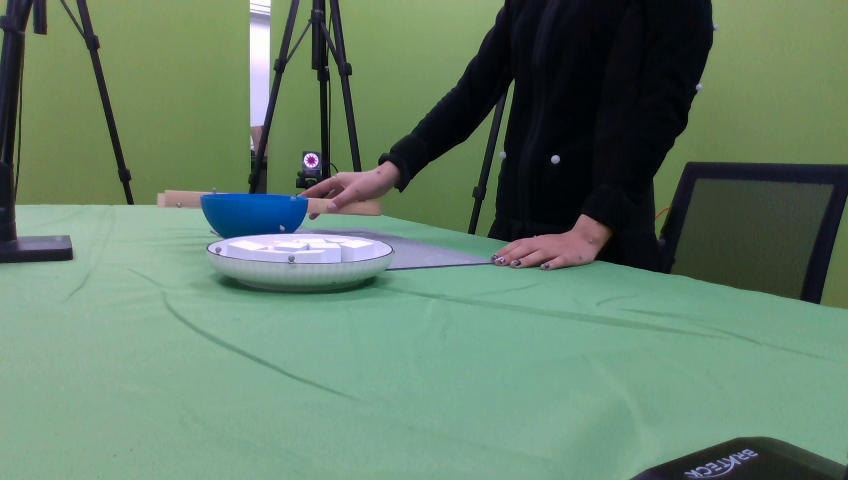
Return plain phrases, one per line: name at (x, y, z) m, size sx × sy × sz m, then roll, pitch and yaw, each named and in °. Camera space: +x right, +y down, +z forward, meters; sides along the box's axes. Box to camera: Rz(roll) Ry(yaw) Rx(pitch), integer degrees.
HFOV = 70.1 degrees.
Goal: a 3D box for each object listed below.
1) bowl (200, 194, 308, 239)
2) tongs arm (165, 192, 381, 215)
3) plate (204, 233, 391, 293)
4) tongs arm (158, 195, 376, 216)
bowl at (-0.245, -0.025, 0.879) m, size 0.151 × 0.077 × 0.151 m, roll 2°, pitch 7°, yaw 0°
tongs arm at (-0.241, -0.061, 1.043) m, size 0.387 × 0.026 × 0.050 m, roll 0°, pitch -1°, yaw -31°
plate at (-0.143, 0.025, 0.697) m, size 0.208 × 0.039 × 0.207 m, roll 3°, pitch 9°, yaw 0°
tongs arm at (-0.274, -0.062, 1.105) m, size 0.389 × 0.027 × 0.028 m, roll 1°, pitch -4°, yaw -21°
